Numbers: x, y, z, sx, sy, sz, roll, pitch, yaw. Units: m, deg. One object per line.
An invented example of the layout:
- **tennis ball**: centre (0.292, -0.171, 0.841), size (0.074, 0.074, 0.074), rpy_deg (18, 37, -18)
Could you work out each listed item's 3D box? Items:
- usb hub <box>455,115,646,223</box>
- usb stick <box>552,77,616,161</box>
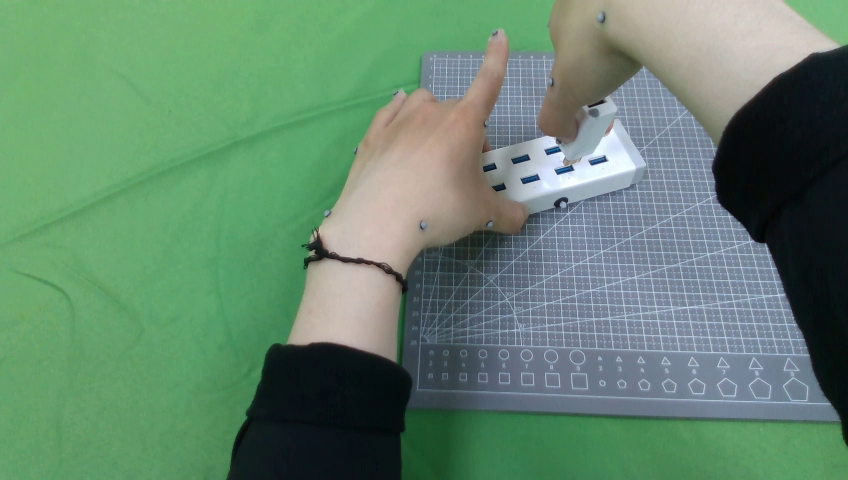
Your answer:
- **usb hub**: centre (0.088, -0.052, 0.430), size (0.125, 0.025, 0.049), rpy_deg (-15, 61, -8)
- **usb stick**: centre (0.100, -0.074, 0.390), size (0.021, 0.059, 0.027), rpy_deg (-22, 65, -15)
